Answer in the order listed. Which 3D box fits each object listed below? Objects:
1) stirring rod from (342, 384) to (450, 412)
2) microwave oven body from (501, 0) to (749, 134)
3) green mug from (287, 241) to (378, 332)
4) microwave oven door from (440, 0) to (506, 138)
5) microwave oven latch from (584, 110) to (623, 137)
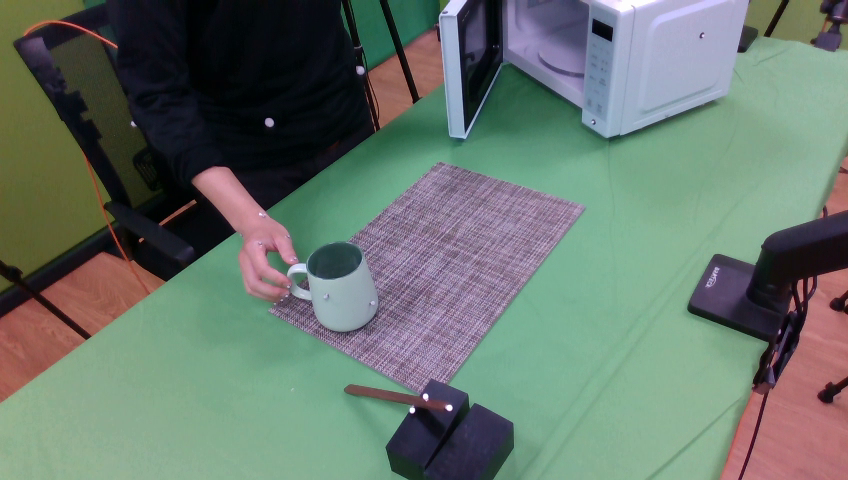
[{"bbox_3d":[-0.038,0.186,0.714,0.175,0.006,0.014,-3,22,43],"label":"stirring rod"},{"bbox_3d":[0.382,-0.444,1.246,0.327,0.261,0.437,-22,42,-16],"label":"microwave oven body"},{"bbox_3d":[-0.131,0.065,0.843,0.125,0.105,0.092,3,42,12],"label":"green mug"},{"bbox_3d":[0.108,-0.406,1.232,0.039,0.245,0.355,7,43,18],"label":"microwave oven door"},{"bbox_3d":[0.337,-0.222,1.142,0.030,0.029,0.078,-21,42,-14],"label":"microwave oven latch"}]
